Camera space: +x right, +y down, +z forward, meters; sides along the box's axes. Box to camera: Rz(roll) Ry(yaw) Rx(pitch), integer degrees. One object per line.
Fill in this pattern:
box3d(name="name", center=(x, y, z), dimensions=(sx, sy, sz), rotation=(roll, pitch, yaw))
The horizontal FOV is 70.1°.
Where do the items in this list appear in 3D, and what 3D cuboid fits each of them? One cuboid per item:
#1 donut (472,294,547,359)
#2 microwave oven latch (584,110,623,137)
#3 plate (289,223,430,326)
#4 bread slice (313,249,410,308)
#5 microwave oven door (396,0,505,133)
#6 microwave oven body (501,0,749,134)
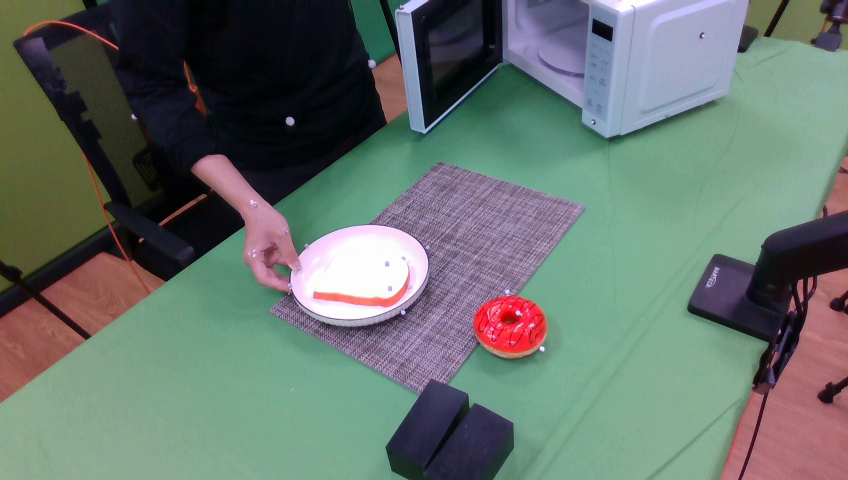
box3d(name="donut", center=(0.114, 0.114, 0.803), dimensions=(0.099, 0.048, 0.098), rotation=(0, 40, 1))
box3d(name="microwave oven latch", center=(0.337, -0.222, 1.142), dimensions=(0.030, 0.029, 0.078), rotation=(-21, 42, -14))
box3d(name="plate", center=(-0.094, 0.053, 0.900), dimensions=(0.208, 0.039, 0.206), rotation=(-2, 40, 2))
box3d(name="bread slice", center=(-0.086, 0.055, 0.899), dimensions=(0.131, 0.019, 0.104), rotation=(6, 42, 13))
box3d(name="microwave oven door", center=(0.067, -0.414, 1.247), dimensions=(0.039, 0.245, 0.356), rotation=(19, 47, 27))
box3d(name="microwave oven body", center=(0.382, -0.445, 1.246), dimensions=(0.327, 0.261, 0.437), rotation=(-22, 42, -16))
